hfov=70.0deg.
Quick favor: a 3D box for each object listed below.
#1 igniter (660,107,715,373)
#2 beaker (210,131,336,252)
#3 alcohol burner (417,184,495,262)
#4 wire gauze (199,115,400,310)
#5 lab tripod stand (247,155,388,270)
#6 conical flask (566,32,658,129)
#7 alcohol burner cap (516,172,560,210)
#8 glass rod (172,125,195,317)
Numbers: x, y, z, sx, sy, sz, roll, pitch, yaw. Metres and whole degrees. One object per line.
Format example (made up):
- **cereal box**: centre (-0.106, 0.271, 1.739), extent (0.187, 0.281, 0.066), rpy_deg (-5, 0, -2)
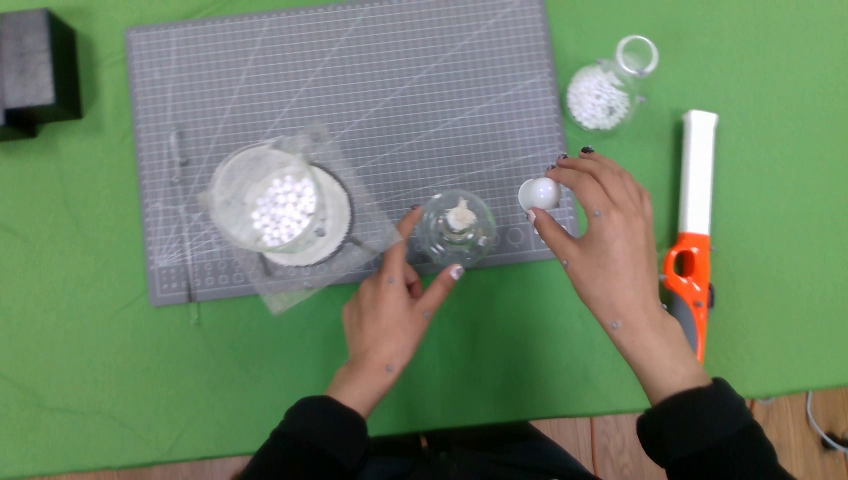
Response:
- **igniter**: centre (0.274, 0.000, 0.628), extent (0.057, 0.025, 0.276), rpy_deg (7, 86, -10)
- **beaker**: centre (-0.106, -0.031, 0.454), extent (0.074, 0.100, 0.084), rpy_deg (15, 85, 0)
- **alcohol burner**: centre (0.031, -0.019, 0.579), extent (0.078, 0.119, 0.077), rpy_deg (0, 84, 1)
- **wire gauze**: centre (-0.103, -0.023, 0.501), extent (0.125, 0.011, 0.121), rpy_deg (-32, 89, -5)
- **lab tripod stand**: centre (-0.105, -0.017, 0.567), extent (0.148, 0.131, 0.148), rpy_deg (0, 87, -1)
- **conical flask**: centre (0.188, -0.159, 0.591), extent (0.075, 0.122, 0.075), rpy_deg (0, 85, 0)
- **alcohol burner cap**: centre (0.101, -0.044, 0.524), extent (0.034, 0.048, 0.034), rpy_deg (0, 90, -6)
- **glass rod**: centre (-0.248, -0.020, 0.626), extent (0.008, 0.008, 0.199), rpy_deg (-6, 89, -2)
